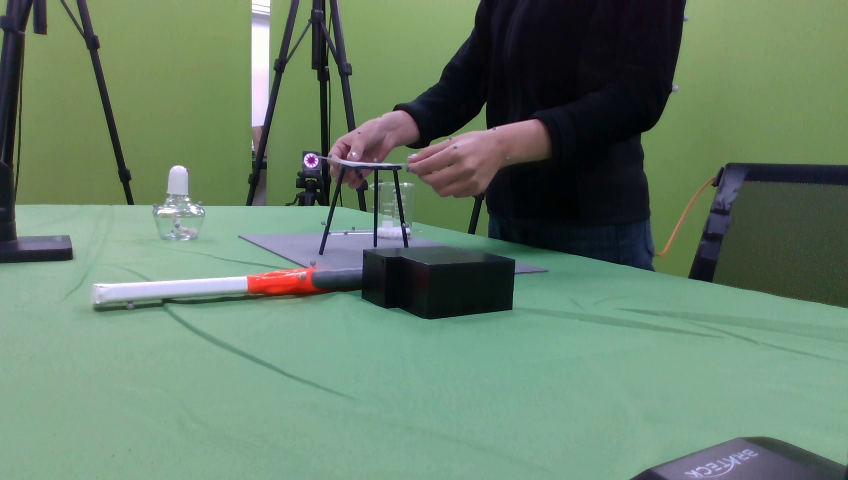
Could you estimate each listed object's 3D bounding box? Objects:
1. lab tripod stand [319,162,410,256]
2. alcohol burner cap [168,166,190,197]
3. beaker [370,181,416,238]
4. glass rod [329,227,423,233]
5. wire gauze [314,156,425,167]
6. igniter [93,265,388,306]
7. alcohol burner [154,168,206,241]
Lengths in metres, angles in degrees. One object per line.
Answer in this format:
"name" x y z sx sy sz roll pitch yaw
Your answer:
"lab tripod stand" -0.081 -0.047 0.879 0.148 0.131 0.148 2 9 0
"alcohol burner cap" -0.392 -0.095 0.970 0.034 0.048 0.034 7 8 -1
"beaker" -0.057 -0.056 1.090 0.084 0.100 0.074 2 7 0
"glass rod" -0.087 -0.019 1.148 0.201 0.008 0.008 -3 8 -32
"wire gauze" -0.079 -0.112 0.868 0.122 0.011 0.124 -4 11 -37
"igniter" -0.164 0.042 0.589 0.278 0.025 0.057 -2 -7 -31
"alcohol burner" -0.393 -0.059 0.974 0.078 0.119 0.078 1 8 0
